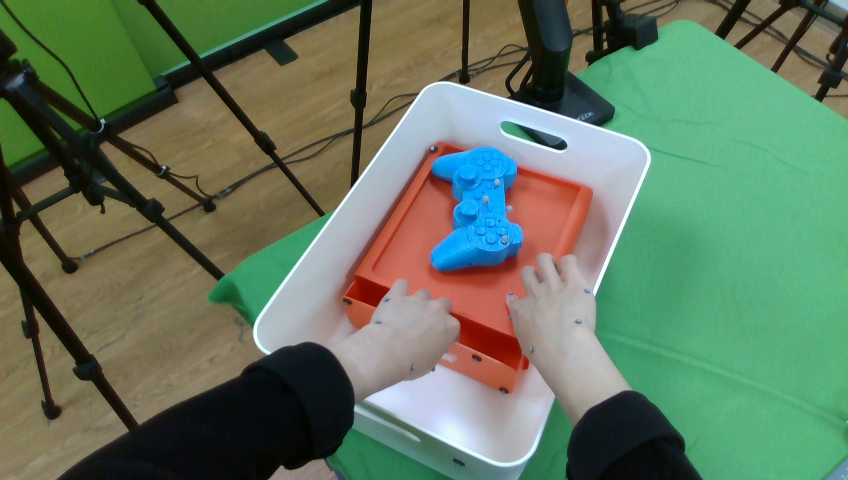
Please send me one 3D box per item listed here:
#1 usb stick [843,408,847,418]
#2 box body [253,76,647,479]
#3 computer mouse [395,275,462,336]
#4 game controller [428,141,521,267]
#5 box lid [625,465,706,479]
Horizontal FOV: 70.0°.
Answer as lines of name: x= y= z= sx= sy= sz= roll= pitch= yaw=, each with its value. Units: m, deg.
usb stick: x=0.440 y=0.181 z=0.582 sx=0.021 sy=0.027 sz=0.058 roll=-28 pitch=63 yaw=-21
box body: x=0.041 y=0.033 z=0.625 sx=0.253 sy=0.162 sz=0.362 roll=22 pitch=60 yaw=15
computer mouse: x=0.006 y=0.065 z=0.665 sx=0.062 sy=0.041 sz=0.116 roll=-4 pitch=17 yaw=10
game controller: x=0.053 y=-0.045 z=0.656 sx=0.097 sy=0.052 sz=0.153 roll=2 pitch=57 yaw=0
box lid: x=0.185 y=0.388 z=0.480 sx=0.263 sy=0.015 sz=0.367 roll=-15 pitch=58 yaw=-6
